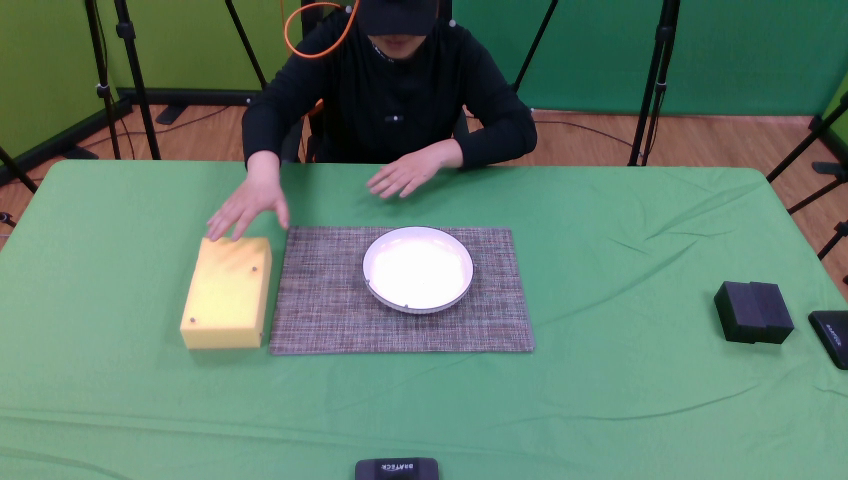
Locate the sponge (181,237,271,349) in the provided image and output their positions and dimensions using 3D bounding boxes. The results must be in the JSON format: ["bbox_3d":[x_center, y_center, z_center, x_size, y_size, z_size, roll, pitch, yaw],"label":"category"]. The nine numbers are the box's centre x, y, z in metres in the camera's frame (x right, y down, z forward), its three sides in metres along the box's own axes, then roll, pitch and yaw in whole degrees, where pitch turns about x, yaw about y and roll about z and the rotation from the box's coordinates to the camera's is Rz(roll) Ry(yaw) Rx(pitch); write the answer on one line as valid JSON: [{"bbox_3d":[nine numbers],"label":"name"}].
[{"bbox_3d":[-0.341,0.088,1.062,0.118,0.061,0.205,-2,46,-6],"label":"sponge"}]

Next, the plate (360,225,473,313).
[{"bbox_3d":[-0.014,0.057,1.126,0.208,0.039,0.206,2,46,-2],"label":"plate"}]
